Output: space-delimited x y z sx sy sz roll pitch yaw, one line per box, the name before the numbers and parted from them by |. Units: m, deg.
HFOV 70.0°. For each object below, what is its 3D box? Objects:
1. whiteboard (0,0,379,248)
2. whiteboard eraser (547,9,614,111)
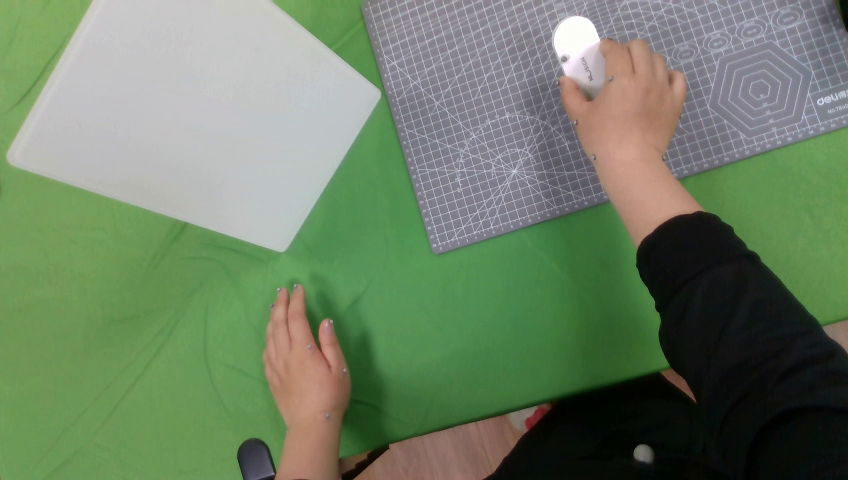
whiteboard | -0.227 -0.150 0.593 0.142 0.308 0.217 36 96 31
whiteboard eraser | 0.152 -0.173 0.586 0.041 0.018 0.102 -26 114 10
